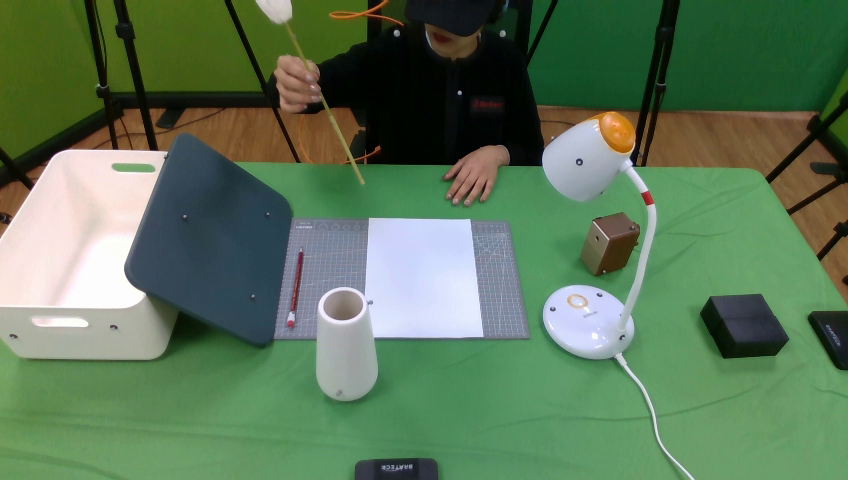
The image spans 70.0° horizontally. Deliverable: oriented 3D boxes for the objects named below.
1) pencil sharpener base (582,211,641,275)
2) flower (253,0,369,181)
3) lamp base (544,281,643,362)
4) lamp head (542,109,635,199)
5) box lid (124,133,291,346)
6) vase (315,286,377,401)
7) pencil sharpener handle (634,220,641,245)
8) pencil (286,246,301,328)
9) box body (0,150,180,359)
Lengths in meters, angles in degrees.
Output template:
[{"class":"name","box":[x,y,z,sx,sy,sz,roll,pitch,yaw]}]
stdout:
[{"class":"pencil sharpener base","box":[0.357,0.005,1.156,0.077,0.107,0.061,-15,48,-18]},{"class":"flower","box":[-0.164,-0.232,0.969,0.044,0.364,0.038,-15,41,14]},{"class":"lamp base","box":[0.303,0.095,1.014,0.161,0.181,0.178,-24,54,-24]},{"class":"lamp head","box":[0.253,-0.131,0.893,0.113,0.123,0.112,10,66,-24]},{"class":"box lid","box":[-0.356,-0.012,1.064,0.015,0.265,0.369,-33,39,26]},{"class":"vase","box":[-0.119,0.159,0.911,0.098,0.201,0.097,2,47,-2]},{"class":"pencil sharpener handle","box":[0.405,-0.015,1.161,0.031,0.068,0.035,-15,44,-18]},{"class":"pencil","box":[-0.236,0.080,1.106,0.012,0.012,0.193,0,45,-4]},{"class":"box body","box":[-0.541,0.021,1.042,0.254,0.161,0.361,1,46,-3]}]
